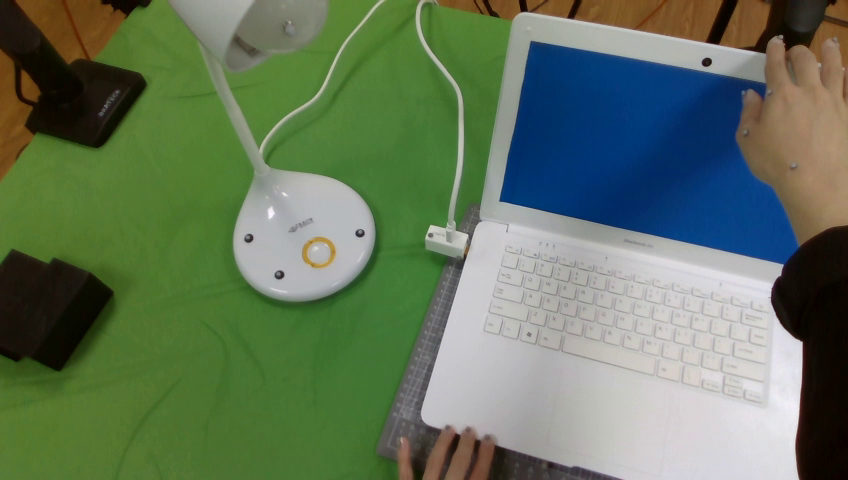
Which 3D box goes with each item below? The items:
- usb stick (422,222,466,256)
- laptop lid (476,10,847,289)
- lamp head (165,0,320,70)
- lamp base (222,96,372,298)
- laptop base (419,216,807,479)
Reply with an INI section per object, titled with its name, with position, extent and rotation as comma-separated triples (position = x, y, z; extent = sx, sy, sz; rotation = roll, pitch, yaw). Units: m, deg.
[usb stick]
position = 0.029, 0.001, 0.665
extent = 0.059, 0.027, 0.021
rotation = 17, 60, 8
[laptop lid]
position = 0.236, -0.079, 0.592
extent = 0.356, 0.243, 0.013
rotation = 12, 37, 10
[lamp head]
position = -0.118, -0.177, 0.345
extent = 0.123, 0.112, 0.112
rotation = 42, 70, -4
[lamp base]
position = -0.151, -0.052, 0.624
extent = 0.160, 0.182, 0.177
rotation = -40, 65, -17
[laptop base]
position = 0.193, 0.115, 0.613
extent = 0.353, 0.023, 0.234
rotation = 13, 68, 9
